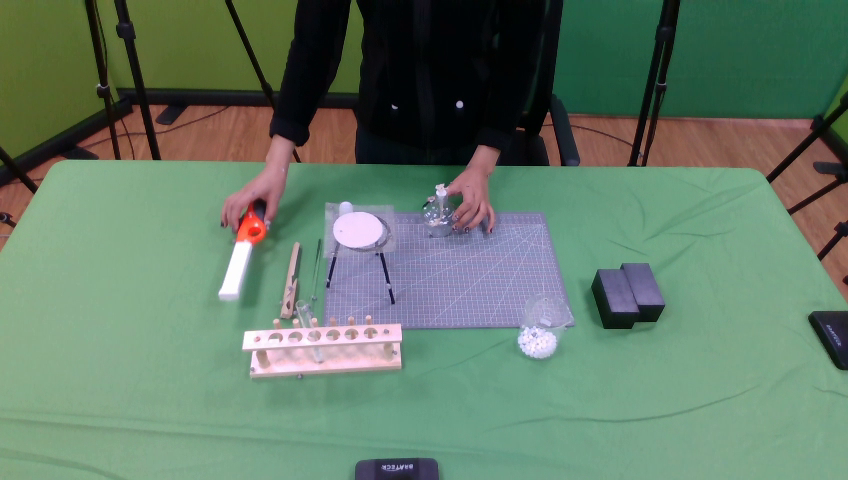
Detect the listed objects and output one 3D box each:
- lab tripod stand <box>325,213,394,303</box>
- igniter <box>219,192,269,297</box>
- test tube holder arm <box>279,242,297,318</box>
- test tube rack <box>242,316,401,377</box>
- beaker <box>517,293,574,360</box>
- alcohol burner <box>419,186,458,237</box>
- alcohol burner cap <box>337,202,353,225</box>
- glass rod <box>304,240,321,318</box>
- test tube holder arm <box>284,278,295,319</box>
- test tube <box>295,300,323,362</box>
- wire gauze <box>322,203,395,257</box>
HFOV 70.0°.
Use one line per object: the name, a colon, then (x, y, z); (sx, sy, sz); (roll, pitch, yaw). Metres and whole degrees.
lab tripod stand: (-0.104, 0.031, 1.080); (0.148, 0.132, 0.147); (4, 45, -4)
igniter: (-0.331, -0.002, 1.127); (0.057, 0.025, 0.275); (2, 42, -2)
test tube holder arm: (-0.249, 0.069, 1.114); (0.013, 0.015, 0.177); (25, 38, -27)
test tube rack: (-0.160, 0.166, 0.983); (0.242, 0.085, 0.066); (-2, 46, -6)
beaker: (0.200, 0.149, 1.018); (0.084, 0.101, 0.073); (14, 47, 8)
alcohol burner: (0.030, -0.063, 1.196); (0.078, 0.119, 0.077); (3, 48, -3)
alcohol burner cap: (-0.161, -0.056, 1.223); (0.034, 0.048, 0.033); (2, 46, -2)
glass rod: (-0.207, 0.068, 1.128); (0.008, 0.008, 0.198); (2, 43, -2)
test tube holder arm: (-0.241, 0.103, 1.085); (0.010, 0.015, 0.087); (25, 38, -27)
test tube: (-0.176, 0.143, 0.935); (0.017, 0.151, 0.017); (-2, 46, 2)
wire gauze: (-0.111, -0.020, 1.035); (0.121, 0.011, 0.124); (0, 47, -7)
